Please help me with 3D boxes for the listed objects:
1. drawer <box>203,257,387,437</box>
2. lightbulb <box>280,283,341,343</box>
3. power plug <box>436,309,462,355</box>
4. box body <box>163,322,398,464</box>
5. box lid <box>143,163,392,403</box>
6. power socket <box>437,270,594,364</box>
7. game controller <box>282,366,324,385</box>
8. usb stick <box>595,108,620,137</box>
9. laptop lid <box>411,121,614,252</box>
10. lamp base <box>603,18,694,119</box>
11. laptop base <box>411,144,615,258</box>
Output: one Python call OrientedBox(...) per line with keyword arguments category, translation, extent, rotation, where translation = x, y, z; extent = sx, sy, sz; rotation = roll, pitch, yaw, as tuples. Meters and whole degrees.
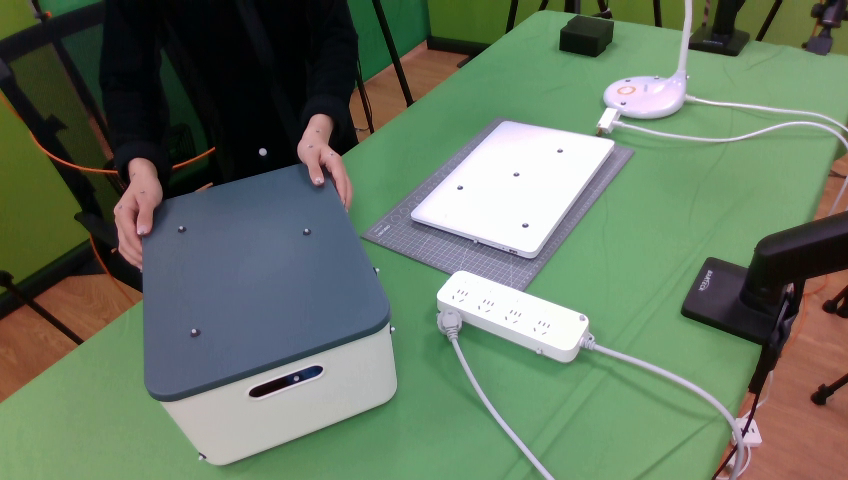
OrientedBox(category="drawer", translation=(-0.171, 0.127, 0.779), extent=(0.195, 0.073, 0.210), rotation=(-16, 35, -15))
OrientedBox(category="lightbulb", translation=(-0.152, 0.102, 0.826), extent=(0.060, 0.060, 0.107), rotation=(-35, 61, -29))
OrientedBox(category="power plug", translation=(0.032, 0.126, 0.809), extent=(0.035, 0.053, 0.072), rotation=(3, 59, 7))
OrientedBox(category="box body", translation=(-0.205, 0.080, 0.802), extent=(0.255, 0.161, 0.361), rotation=(-18, 41, -13))
OrientedBox(category="box lid", translation=(-0.212, 0.025, 0.753), extent=(0.264, 0.015, 0.368), rotation=(-18, 41, -13))
OrientedBox(category="power socket", translation=(0.118, 0.102, 0.830), extent=(0.225, 0.033, 0.072), rotation=(20, 48, 28))
OrientedBox(category="game controller", translation=(-0.159, 0.114, 0.735), extent=(0.154, 0.052, 0.097), rotation=(29, 51, 34))
OrientedBox(category="usb stick", translation=(0.355, -0.226, 1.175), extent=(0.027, 0.022, 0.059), rotation=(29, 85, 41))
OrientedBox(category="laptop lid", translation=(0.164, -0.112, 1.068), extent=(0.240, 0.013, 0.357), rotation=(19, 46, 30))
OrientedBox(category="lamp base", translation=(0.460, -0.355, 1.205), extent=(0.179, 0.181, 0.160), rotation=(2, 41, 7))
OrientedBox(category="laptop base", translation=(0.167, -0.102, 1.074), extent=(0.234, 0.023, 0.355), rotation=(17, 45, 30))
